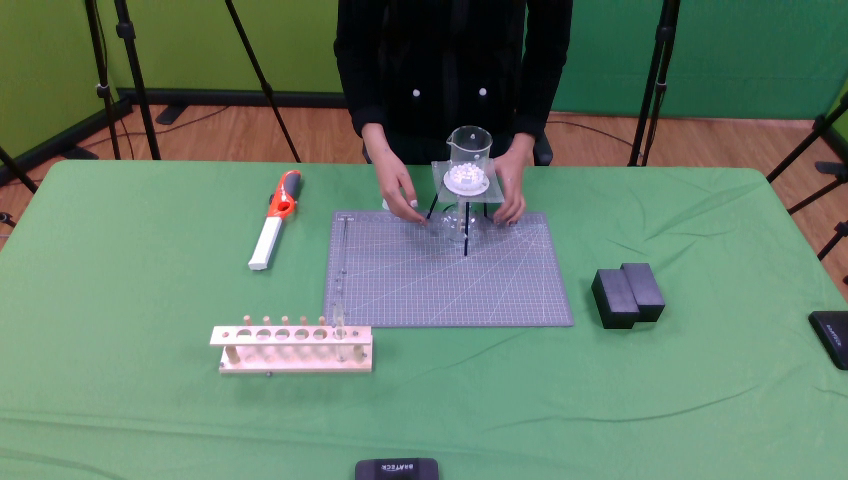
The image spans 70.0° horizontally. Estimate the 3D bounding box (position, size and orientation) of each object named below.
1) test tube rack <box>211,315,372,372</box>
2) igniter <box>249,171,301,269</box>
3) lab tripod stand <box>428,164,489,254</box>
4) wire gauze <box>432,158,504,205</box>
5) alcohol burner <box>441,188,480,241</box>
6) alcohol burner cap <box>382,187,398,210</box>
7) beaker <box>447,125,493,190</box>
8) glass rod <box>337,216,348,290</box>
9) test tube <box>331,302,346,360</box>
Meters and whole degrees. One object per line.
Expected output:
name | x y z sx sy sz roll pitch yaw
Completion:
test tube rack | -0.208 0.163 0.982 0.242 0.085 0.066 1 46 -4
igniter | -0.297 -0.049 1.220 0.057 0.025 0.275 -1 45 9
lab tripod stand | 0.078 -0.068 1.187 0.148 0.132 0.147 3 47 -3
wire gauze | 0.081 -0.111 1.138 0.125 0.011 0.120 0 48 -7
alcohol burner | 0.073 -0.055 1.189 0.078 0.120 0.077 1 47 -1
alcohol burner cap | -0.072 -0.090 1.266 0.034 0.048 0.033 2 47 -2
beaker | 0.079 -0.148 1.106 0.084 0.101 0.073 -3 47 -7
glass rod | -0.158 0.021 1.171 0.008 0.008 0.198 1 44 -2
test tube | -0.132 0.144 0.938 0.017 0.151 0.017 2 49 -3
